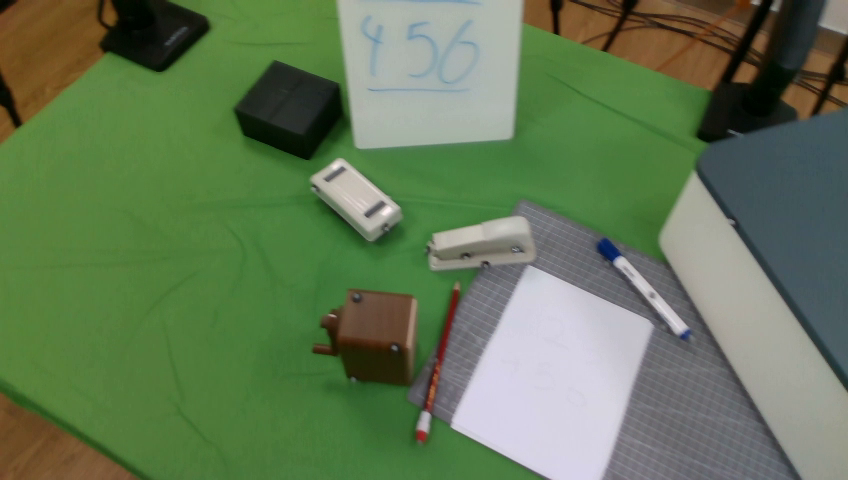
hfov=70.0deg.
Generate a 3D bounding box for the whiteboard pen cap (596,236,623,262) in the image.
[{"bbox_3d":[0.224,0.012,0.730,0.018,0.018,0.033,-26,61,-17],"label":"whiteboard pen cap"}]

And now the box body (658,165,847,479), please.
[{"bbox_3d":[0.447,0.064,0.624,0.254,0.161,0.360,-15,61,-11],"label":"box body"}]

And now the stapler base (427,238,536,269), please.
[{"bbox_3d":[0.069,0.007,0.725,0.130,0.024,0.041,-6,55,-2],"label":"stapler base"}]

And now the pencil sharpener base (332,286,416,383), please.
[{"bbox_3d":[-0.049,0.099,0.619,0.076,0.108,0.061,6,59,3],"label":"pencil sharpener base"}]

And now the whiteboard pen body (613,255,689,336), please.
[{"bbox_3d":[0.254,0.054,0.703,0.017,0.017,0.139,-26,61,-17],"label":"whiteboard pen body"}]

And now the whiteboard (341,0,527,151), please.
[{"bbox_3d":[0.008,-0.289,0.774,0.217,0.308,0.142,-4,40,-4],"label":"whiteboard"}]

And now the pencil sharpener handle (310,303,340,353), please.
[{"bbox_3d":[-0.100,0.090,0.608,0.030,0.068,0.035,6,43,3],"label":"pencil sharpener handle"}]

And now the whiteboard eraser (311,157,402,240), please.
[{"bbox_3d":[-0.084,-0.050,0.746,0.055,0.042,0.112,-41,69,-20],"label":"whiteboard eraser"}]

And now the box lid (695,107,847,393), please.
[{"bbox_3d":[0.448,0.024,0.562,0.264,0.015,0.368,-15,61,-11],"label":"box lid"}]

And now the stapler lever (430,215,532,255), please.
[{"bbox_3d":[0.067,-0.006,0.704,0.118,0.040,0.026,-6,55,-2],"label":"stapler lever"}]

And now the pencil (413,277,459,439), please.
[{"bbox_3d":[0.016,0.122,0.663,0.012,0.012,0.192,13,59,6],"label":"pencil"}]
